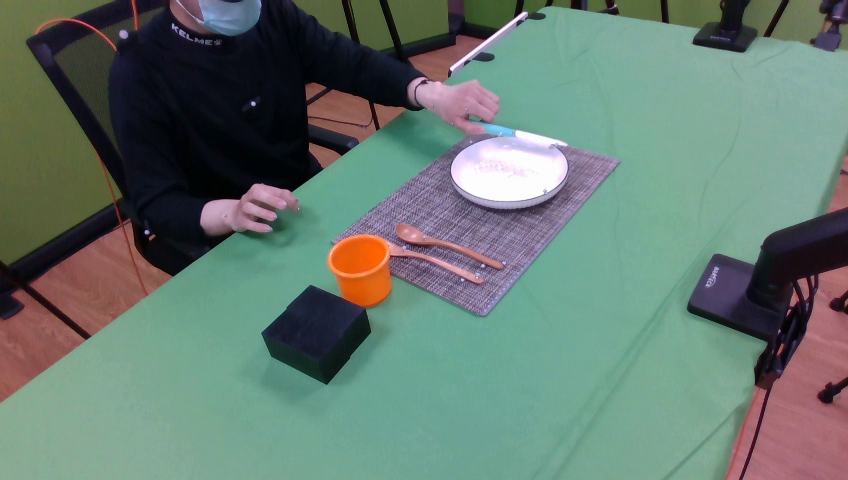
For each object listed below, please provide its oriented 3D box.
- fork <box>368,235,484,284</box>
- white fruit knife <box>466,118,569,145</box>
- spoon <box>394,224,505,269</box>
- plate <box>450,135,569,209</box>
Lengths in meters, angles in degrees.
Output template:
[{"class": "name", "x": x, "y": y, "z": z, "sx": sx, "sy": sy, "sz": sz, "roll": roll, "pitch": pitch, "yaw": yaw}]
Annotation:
[{"class": "fork", "x": 0.001, "y": 0.030, "z": 0.930, "sx": 0.206, "sy": 0.019, "sz": 0.028, "roll": 18, "pitch": 41, "yaw": 28}, {"class": "white fruit knife", "x": 0.161, "y": -0.193, "z": 1.083, "sx": 0.206, "sy": 0.016, "sz": 0.027, "roll": 18, "pitch": 42, "yaw": 28}, {"class": "spoon", "x": 0.037, "y": 0.010, "z": 0.945, "sx": 0.192, "sy": 0.022, "sz": 0.042, "roll": 18, "pitch": 28, "yaw": 26}, {"class": "plate", "x": 0.149, "y": -0.117, "z": 1.066, "sx": 0.209, "sy": 0.038, "sz": 0.208, "roll": -4, "pitch": 41, "yaw": 4}]
